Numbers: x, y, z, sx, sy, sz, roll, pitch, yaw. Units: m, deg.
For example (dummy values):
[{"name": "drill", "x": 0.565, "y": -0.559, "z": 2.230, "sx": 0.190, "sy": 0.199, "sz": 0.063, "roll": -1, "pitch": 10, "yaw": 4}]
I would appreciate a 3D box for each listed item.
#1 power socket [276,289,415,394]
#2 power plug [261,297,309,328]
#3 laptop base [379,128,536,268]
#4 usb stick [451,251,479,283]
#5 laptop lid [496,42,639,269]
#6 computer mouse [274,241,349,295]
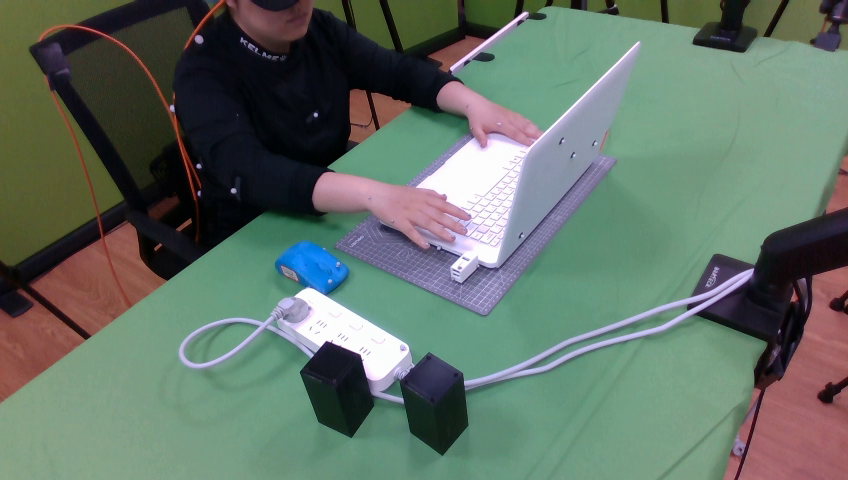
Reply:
[{"name": "power socket", "x": -0.113, "y": 0.133, "z": 0.820, "sx": 0.225, "sy": 0.033, "sz": 0.072, "roll": 25, "pitch": 50, "yaw": 33}, {"name": "power plug", "x": -0.192, "y": 0.107, "z": 0.831, "sx": 0.073, "sy": 0.053, "sz": 0.035, "roll": -32, "pitch": 43, "yaw": -25}, {"name": "laptop base", "x": 0.118, "y": -0.089, "z": 1.058, "sx": 0.233, "sy": 0.023, "sz": 0.355, "roll": 19, "pitch": 47, "yaw": 33}, {"name": "usb stick", "x": 0.065, "y": 0.036, "z": 0.900, "sx": 0.021, "sy": 0.027, "sz": 0.059, "roll": 23, "pitch": 45, "yaw": 32}, {"name": "laptop lid", "x": 0.221, "y": -0.130, "z": 0.912, "sx": 0.013, "sy": 0.242, "sz": 0.357, "roll": 31, "pitch": 51, "yaw": 21}, {"name": "computer mouse", "x": -0.175, "y": 0.040, "z": 0.935, "sx": 0.116, "sy": 0.041, "sz": 0.063, "roll": 27, "pitch": 49, "yaw": 27}]
